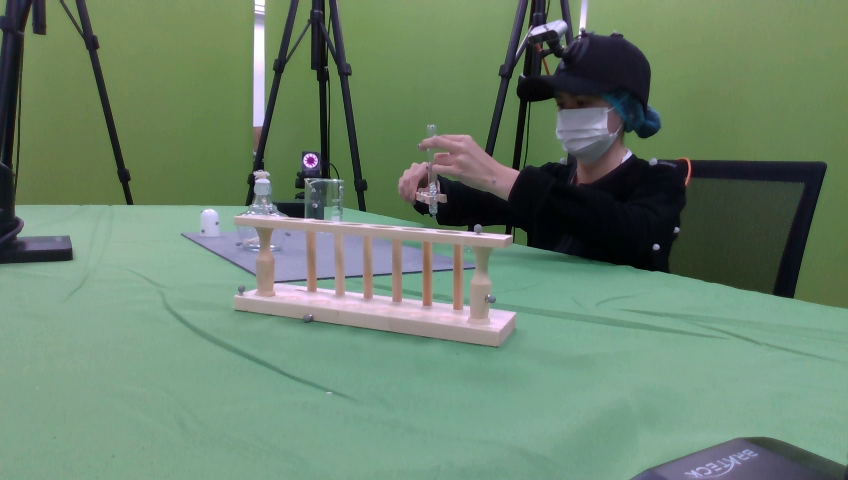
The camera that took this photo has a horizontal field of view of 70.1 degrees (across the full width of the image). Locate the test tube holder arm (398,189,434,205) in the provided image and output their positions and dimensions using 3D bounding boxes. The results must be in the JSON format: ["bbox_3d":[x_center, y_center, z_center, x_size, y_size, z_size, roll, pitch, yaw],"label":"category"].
[{"bbox_3d":[-0.017,-0.078,1.074,0.013,0.015,0.177,0,9,-21],"label":"test tube holder arm"}]

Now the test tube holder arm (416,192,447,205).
[{"bbox_3d":[0.008,-0.072,1.038,0.010,0.015,0.087,-5,11,-38],"label":"test tube holder arm"}]

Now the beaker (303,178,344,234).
[{"bbox_3d":[-0.189,-0.063,1.119,0.073,0.100,0.084,6,9,28],"label":"beaker"}]

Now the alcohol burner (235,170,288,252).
[{"bbox_3d":[-0.236,-0.042,0.882,0.078,0.119,0.078,2,9,0],"label":"alcohol burner"}]

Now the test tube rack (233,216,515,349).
[{"bbox_3d":[-0.045,0.029,0.526,0.241,0.085,0.067,5,8,19],"label":"test tube rack"}]

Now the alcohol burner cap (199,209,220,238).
[{"bbox_3d":[-0.356,-0.027,1.002,0.034,0.048,0.034,2,7,0],"label":"alcohol burner cap"}]

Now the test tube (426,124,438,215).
[{"bbox_3d":[0.014,-0.116,1.006,0.017,0.150,0.017,-2,10,1],"label":"test tube"}]
